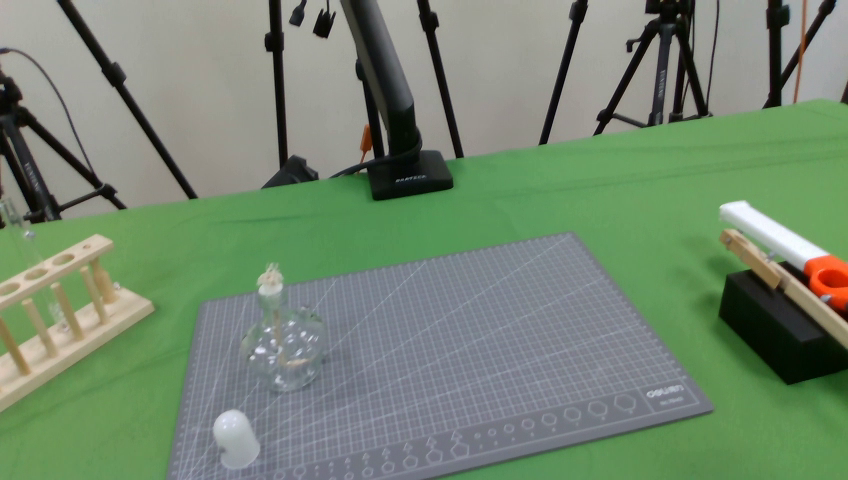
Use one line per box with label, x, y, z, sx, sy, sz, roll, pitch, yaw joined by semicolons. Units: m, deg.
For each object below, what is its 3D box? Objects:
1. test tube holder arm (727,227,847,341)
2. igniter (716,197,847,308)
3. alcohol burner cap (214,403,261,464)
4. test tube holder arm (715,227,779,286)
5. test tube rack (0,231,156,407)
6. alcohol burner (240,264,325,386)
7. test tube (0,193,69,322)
test tube holder arm;0.325;0.037;0.542;0.013;0.015;0.176;-6;32;-12
igniter;0.363;0.024;0.550;0.057;0.025;0.273;-12;29;-7
alcohol burner cap;-0.155;0.156;0.497;0.034;0.048;0.033;-4;33;3
test tube holder arm;0.310;0.014;0.579;0.010;0.015;0.087;-5;32;-11
test tube rack;-0.403;0.090;0.603;0.066;0.086;0.242;17;39;31
alcohol burner;-0.132;0.074;0.554;0.078;0.120;0.077;-4;31;3
test tube;-0.394;0.022;0.616;0.017;0.151;0.017;-5;30;3
